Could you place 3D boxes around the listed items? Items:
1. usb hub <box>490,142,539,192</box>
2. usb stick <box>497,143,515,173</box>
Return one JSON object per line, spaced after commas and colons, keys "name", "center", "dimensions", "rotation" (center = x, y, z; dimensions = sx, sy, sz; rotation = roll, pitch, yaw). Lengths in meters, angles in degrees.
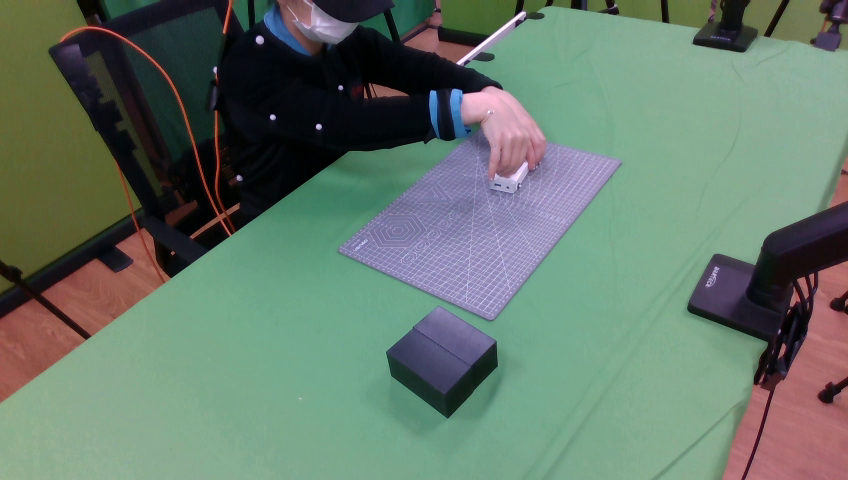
{"name": "usb hub", "center": [0.165, -0.132, 1.092], "dimensions": [0.049, 0.025, 0.125], "rotation": [15, 45, 23]}
{"name": "usb stick", "center": [0.142, -0.137, 1.052], "dimensions": [0.027, 0.059, 0.021], "rotation": [20, 45, 19]}
